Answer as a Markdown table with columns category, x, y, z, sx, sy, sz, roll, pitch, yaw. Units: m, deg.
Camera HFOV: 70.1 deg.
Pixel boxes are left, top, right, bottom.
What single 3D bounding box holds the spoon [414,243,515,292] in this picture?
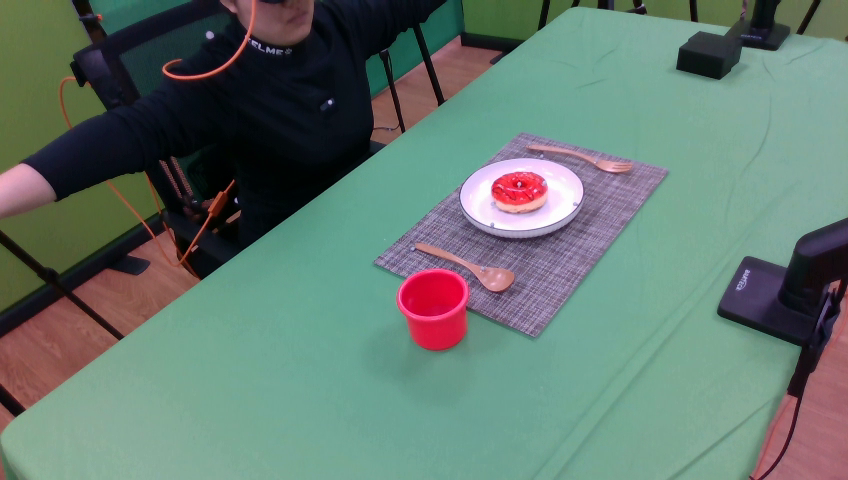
| category | x | y | z | sx | sy | sz | roll | pitch | yaw |
| --- | --- | --- | --- | --- | --- | --- | --- | --- | --- |
| spoon | 0.057 | 0.035 | 0.924 | 0.192 | 0.022 | 0.041 | 25 | 68 | 34 |

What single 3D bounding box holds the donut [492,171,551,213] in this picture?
| category | x | y | z | sx | sy | sz | roll | pitch | yaw |
| --- | --- | --- | --- | --- | --- | --- | --- | --- | --- |
| donut | 0.163 | -0.083 | 1.015 | 0.099 | 0.048 | 0.098 | -6 | 37 | 5 |

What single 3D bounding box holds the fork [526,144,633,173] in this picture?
| category | x | y | z | sx | sy | sz | roll | pitch | yaw |
| --- | --- | --- | --- | --- | --- | --- | --- | --- | --- |
| fork | 0.279 | -0.153 | 1.108 | 0.206 | 0.019 | 0.028 | 21 | 56 | 29 |

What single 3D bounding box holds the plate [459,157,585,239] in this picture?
| category | x | y | z | sx | sy | sz | roll | pitch | yaw |
| --- | --- | --- | --- | --- | --- | --- | --- | --- | --- |
| plate | 0.163 | -0.068 | 1.015 | 0.209 | 0.038 | 0.208 | -5 | 40 | 5 |
